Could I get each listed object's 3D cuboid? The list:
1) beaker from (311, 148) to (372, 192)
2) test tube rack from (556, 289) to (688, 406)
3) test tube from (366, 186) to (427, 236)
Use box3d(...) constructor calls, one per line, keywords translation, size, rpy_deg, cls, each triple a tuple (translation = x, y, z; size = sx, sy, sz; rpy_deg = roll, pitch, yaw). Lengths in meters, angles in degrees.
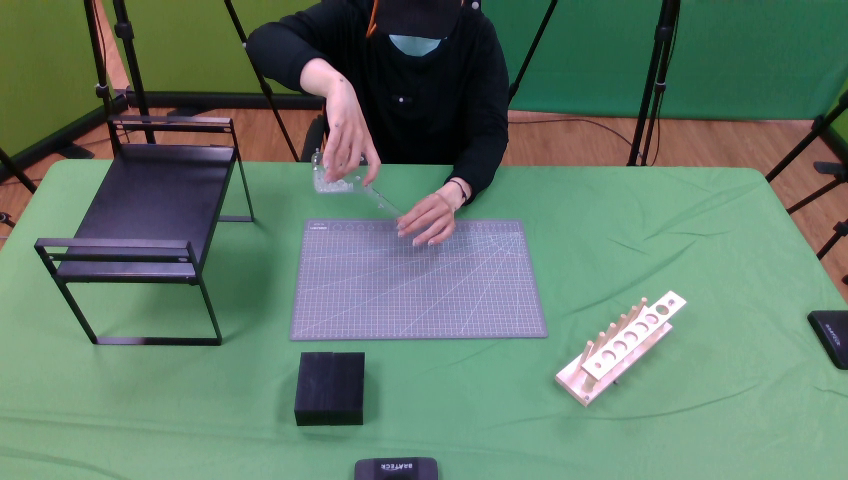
box3d(translation=(-0.143, -0.117, 1.043), size=(0.100, 0.084, 0.073), rpy_deg=(-2, 43, -8), cls="beaker")
box3d(translation=(0.332, 0.166, 1.014), size=(0.242, 0.085, 0.066), rpy_deg=(-30, 55, -28), cls="test tube rack")
box3d(translation=(-0.048, -0.051, 1.112), size=(0.151, 0.017, 0.017), rpy_deg=(38, 37, -30), cls="test tube")
